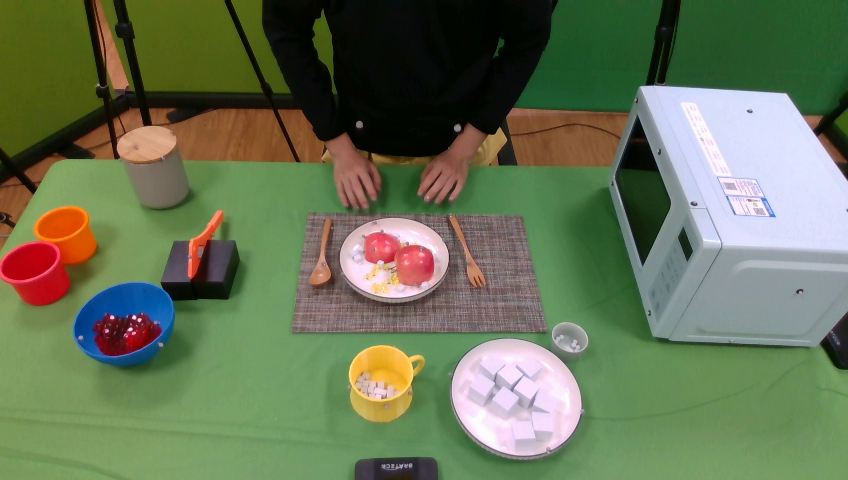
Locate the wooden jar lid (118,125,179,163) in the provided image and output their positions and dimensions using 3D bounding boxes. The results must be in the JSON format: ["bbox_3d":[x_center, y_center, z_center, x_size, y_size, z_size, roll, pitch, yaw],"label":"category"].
[{"bbox_3d":[-0.528,-0.181,1.167,0.108,0.021,0.107,4,48,-4],"label":"wooden jar lid"}]

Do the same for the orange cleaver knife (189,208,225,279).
[{"bbox_3d":[-0.400,0.002,1.122,0.012,0.077,0.210,4,23,-4],"label":"orange cleaver knife"}]

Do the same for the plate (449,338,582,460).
[{"bbox_3d":[0.141,0.251,0.956,0.208,0.039,0.206,2,46,-2],"label":"plate"}]

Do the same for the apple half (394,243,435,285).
[{"bbox_3d":[-0.017,0.037,1.120,0.075,0.053,0.080,1,46,-6],"label":"apple half"}]

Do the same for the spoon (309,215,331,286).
[{"bbox_3d":[-0.191,0.016,1.159,0.041,0.022,0.192,-14,46,13],"label":"spoon"}]

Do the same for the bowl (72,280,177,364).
[{"bbox_3d":[-0.472,0.147,0.982,0.151,0.077,0.150,2,46,-2],"label":"bowl"}]

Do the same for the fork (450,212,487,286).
[{"bbox_3d":[0.082,0.014,1.183,0.028,0.019,0.206,-19,50,0],"label":"fork"}]

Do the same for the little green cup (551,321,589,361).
[{"bbox_3d":[0.247,0.175,1.033,0.061,0.039,0.061,2,45,-2],"label":"little green cup"}]

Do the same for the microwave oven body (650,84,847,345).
[{"bbox_3d":[0.569,-0.054,1.116,0.326,0.261,0.439,2,46,-1],"label":"microwave oven body"}]

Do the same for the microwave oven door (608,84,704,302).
[{"bbox_3d":[0.424,-0.096,1.138,0.039,0.245,0.353,3,46,-1],"label":"microwave oven door"}]

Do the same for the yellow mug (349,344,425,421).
[{"bbox_3d":[-0.054,0.217,0.954,0.131,0.064,0.099,-24,53,-25],"label":"yellow mug"}]

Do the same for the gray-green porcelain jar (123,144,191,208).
[{"bbox_3d":[-0.531,-0.137,1.213,0.106,0.127,0.105,2,46,-2],"label":"gray-green porcelain jar"}]

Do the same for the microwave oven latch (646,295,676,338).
[{"bbox_3d":[0.413,0.133,1.060,0.030,0.029,0.078,4,46,1],"label":"microwave oven latch"}]

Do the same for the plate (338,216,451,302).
[{"bbox_3d":[-0.054,0.038,1.138,0.209,0.038,0.208,2,46,-2],"label":"plate"}]

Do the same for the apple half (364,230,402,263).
[{"bbox_3d":[-0.079,0.005,1.159,0.081,0.033,0.081,3,49,-3],"label":"apple half"}]
